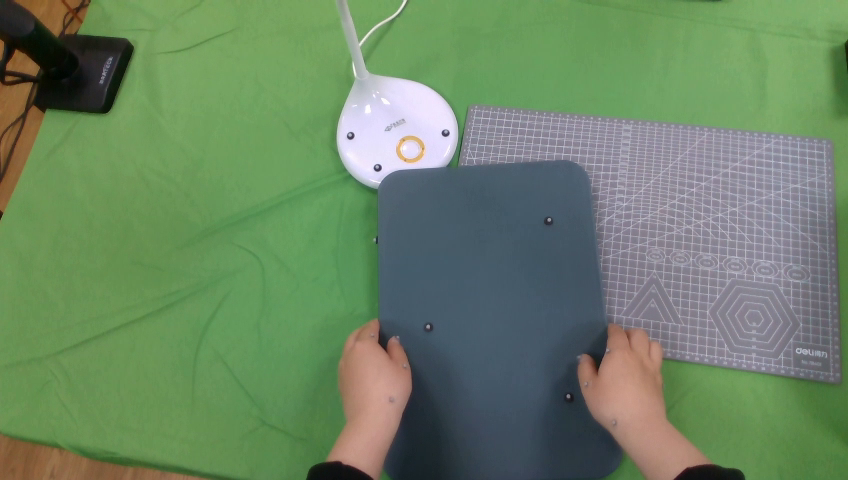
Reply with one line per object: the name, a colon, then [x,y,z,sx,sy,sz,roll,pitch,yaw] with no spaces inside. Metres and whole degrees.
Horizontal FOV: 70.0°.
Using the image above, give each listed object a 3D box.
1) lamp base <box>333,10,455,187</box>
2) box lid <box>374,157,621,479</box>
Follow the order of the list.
lamp base: [-0.056,-0.174,0.722,0.160,0.181,0.178,-40,69,-9]
box lid: [0.074,0.078,0.700,0.263,0.015,0.369,-4,73,3]
